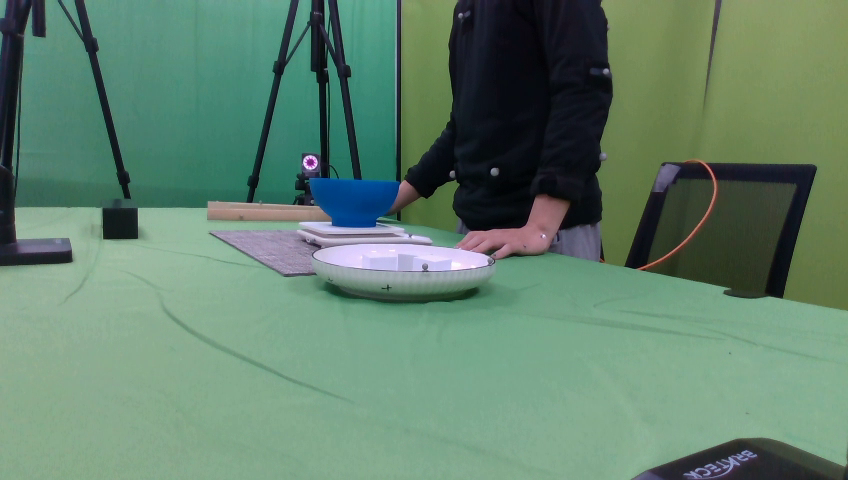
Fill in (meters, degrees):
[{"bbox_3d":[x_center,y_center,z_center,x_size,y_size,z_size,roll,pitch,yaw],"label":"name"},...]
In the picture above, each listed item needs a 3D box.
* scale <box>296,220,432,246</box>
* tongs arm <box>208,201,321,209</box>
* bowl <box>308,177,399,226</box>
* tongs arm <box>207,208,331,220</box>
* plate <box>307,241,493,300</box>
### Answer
[{"bbox_3d":[-0.101,-0.012,1.017,0.202,0.031,0.148,-1,8,-30],"label":"scale"},{"bbox_3d":[-0.308,-0.071,1.430,0.386,0.026,0.050,1,7,-16],"label":"tongs arm"},{"bbox_3d":[-0.117,-0.064,1.001,0.151,0.077,0.151,2,6,0],"label":"bowl"},{"bbox_3d":[-0.283,-0.058,1.360,0.389,0.028,0.028,-1,5,-27],"label":"tongs arm"},{"bbox_3d":[-0.026,0.034,0.684,0.208,0.039,0.207,2,7,0],"label":"plate"}]
